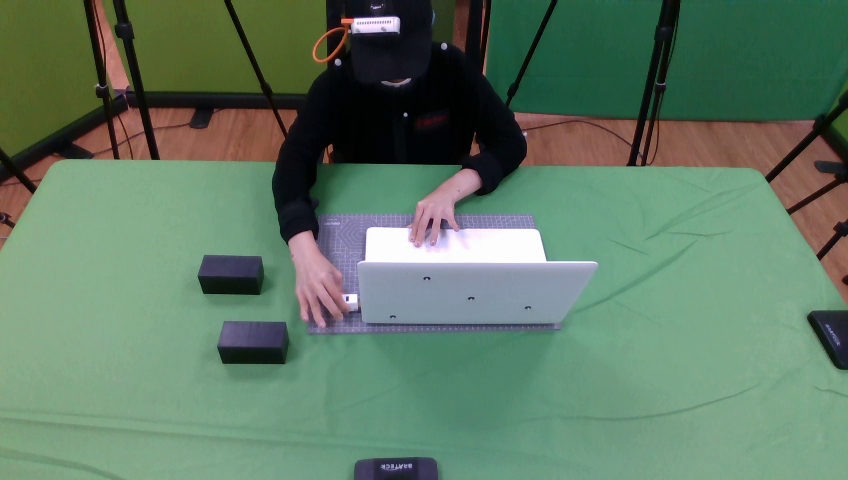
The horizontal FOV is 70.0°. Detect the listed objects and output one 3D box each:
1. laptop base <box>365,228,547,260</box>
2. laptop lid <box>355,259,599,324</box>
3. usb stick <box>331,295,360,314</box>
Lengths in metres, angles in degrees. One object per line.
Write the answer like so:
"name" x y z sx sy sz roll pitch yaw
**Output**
"laptop base" 0.064 0.063 1.143 0.354 0.023 0.234 0 42 -3
"laptop lid" 0.073 0.088 0.959 0.357 0.242 0.013 1 60 -5
"usb stick" -0.132 0.112 1.067 0.059 0.027 0.021 -5 48 -5
